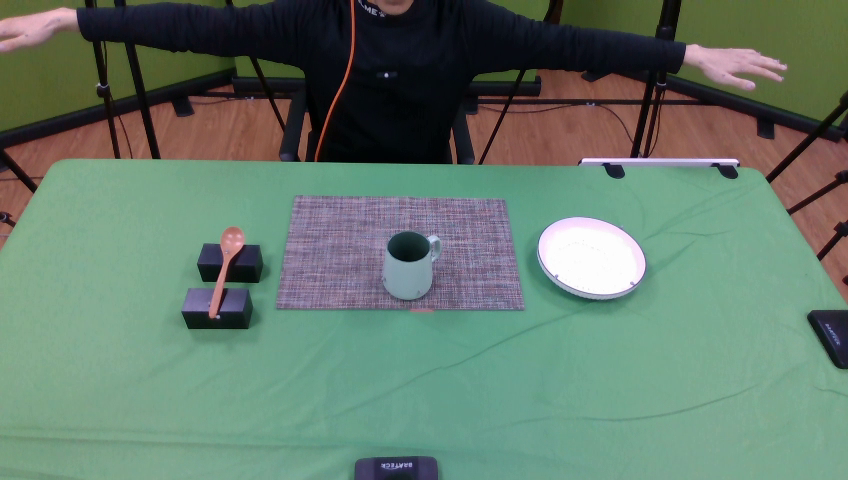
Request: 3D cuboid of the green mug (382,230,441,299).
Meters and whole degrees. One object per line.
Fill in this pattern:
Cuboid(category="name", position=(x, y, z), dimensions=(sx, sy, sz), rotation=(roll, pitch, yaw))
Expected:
Cuboid(category="green mug", position=(-0.017, 0.037, 1.097), dimensions=(0.125, 0.105, 0.092), rotation=(-34, 57, -31))

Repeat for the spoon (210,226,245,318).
Cuboid(category="spoon", position=(-0.347, 0.051, 1.051), dimensions=(0.042, 0.022, 0.192), rotation=(16, 44, -18))

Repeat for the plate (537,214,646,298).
Cuboid(category="plate", position=(0.321, 0.035, 1.176), dimensions=(0.209, 0.038, 0.208), rotation=(2, 47, -2))
